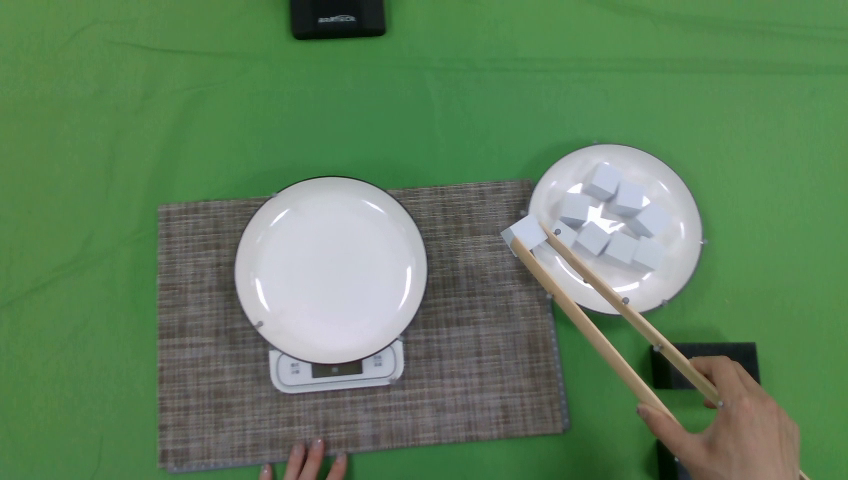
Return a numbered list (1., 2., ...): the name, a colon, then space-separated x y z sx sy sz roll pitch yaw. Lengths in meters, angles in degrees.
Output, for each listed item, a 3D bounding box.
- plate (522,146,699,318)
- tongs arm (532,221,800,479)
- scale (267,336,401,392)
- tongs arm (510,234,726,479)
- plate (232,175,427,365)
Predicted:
1. plate: 0.218 -0.009 0.722 0.208 0.039 0.206 1 78 -3
2. tongs arm: 0.221 0.126 0.553 0.051 0.027 0.382 -35 68 -21
3. scale: -0.105 0.068 0.691 0.149 0.031 0.200 -4 78 -3
4. tongs arm: 0.203 0.137 0.546 0.028 0.028 0.384 -29 66 -23
5. plate: -0.101 0.032 0.665 0.209 0.038 0.208 1 78 -3
